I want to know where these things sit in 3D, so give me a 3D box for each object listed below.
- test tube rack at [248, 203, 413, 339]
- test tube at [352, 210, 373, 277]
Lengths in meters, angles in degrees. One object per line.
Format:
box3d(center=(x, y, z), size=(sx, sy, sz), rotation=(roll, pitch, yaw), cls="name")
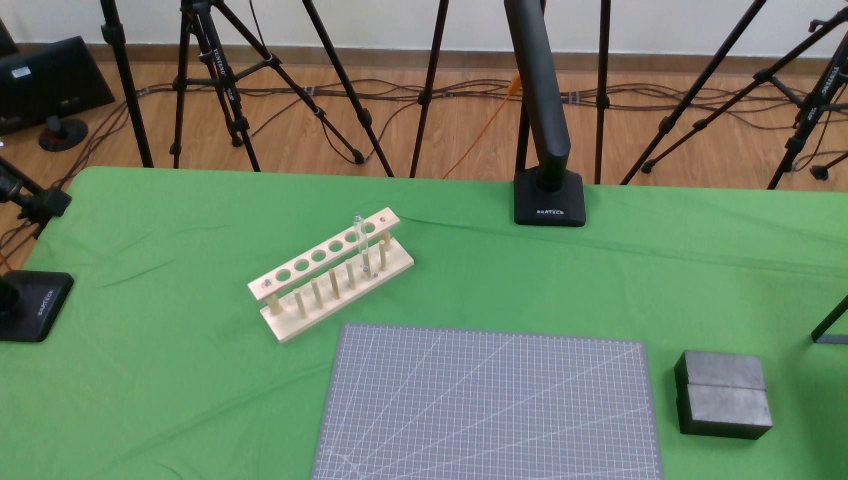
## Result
box3d(center=(-0.135, 0.045, 0.926), size=(0.242, 0.086, 0.066), rotation=(-31, 58, -19), cls="test tube rack")
box3d(center=(-0.091, 0.008, 0.896), size=(0.017, 0.151, 0.017), rotation=(-1, 52, 2), cls="test tube")
